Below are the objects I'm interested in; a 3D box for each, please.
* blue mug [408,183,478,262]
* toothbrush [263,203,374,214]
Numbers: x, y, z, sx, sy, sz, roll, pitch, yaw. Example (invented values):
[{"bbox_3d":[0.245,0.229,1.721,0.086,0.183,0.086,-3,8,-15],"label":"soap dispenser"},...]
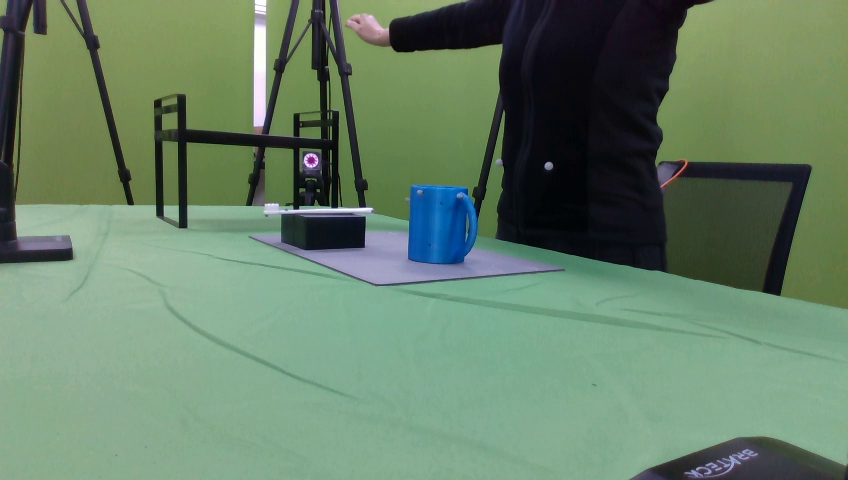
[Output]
[{"bbox_3d":[0.031,-0.024,0.843,0.083,0.106,0.116,-4,10,-43],"label":"blue mug"},{"bbox_3d":[-0.160,-0.049,0.943,0.183,0.016,0.014,-2,1,-32],"label":"toothbrush"}]
